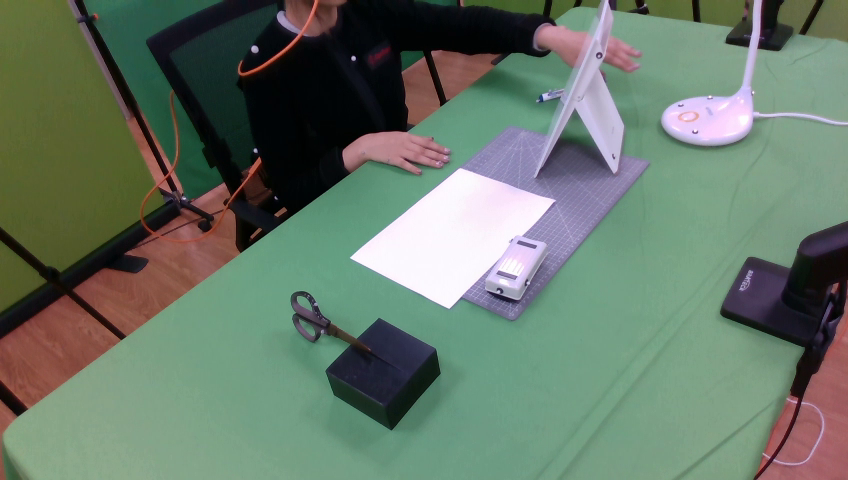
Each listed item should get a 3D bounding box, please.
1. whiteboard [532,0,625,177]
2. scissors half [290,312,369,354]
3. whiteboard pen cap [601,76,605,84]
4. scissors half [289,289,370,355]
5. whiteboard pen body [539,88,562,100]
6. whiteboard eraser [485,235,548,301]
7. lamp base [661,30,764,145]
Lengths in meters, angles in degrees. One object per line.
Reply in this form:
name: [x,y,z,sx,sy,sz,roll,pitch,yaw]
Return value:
whiteboard: [0.320,-0.259,1.050,0.144,0.306,0.217,21,45,5]
scissors half: [-0.128,0.129,0.816,0.013,0.040,0.173,-23,22,-40]
whiteboard pen cap: [0.372,-0.340,1.305,0.033,0.018,0.018,-17,41,-1]
scissors half: [-0.128,0.110,0.808,0.013,0.040,0.173,-17,36,-43]
whiteboard pen body: [0.315,-0.324,1.302,0.141,0.017,0.017,-15,41,-2]
whiteboard eraser: [0.137,0.042,0.887,0.055,0.042,0.113,15,46,27]
lamp base: [0.535,-0.287,1.096,0.179,0.181,0.159,-10,40,-4]
